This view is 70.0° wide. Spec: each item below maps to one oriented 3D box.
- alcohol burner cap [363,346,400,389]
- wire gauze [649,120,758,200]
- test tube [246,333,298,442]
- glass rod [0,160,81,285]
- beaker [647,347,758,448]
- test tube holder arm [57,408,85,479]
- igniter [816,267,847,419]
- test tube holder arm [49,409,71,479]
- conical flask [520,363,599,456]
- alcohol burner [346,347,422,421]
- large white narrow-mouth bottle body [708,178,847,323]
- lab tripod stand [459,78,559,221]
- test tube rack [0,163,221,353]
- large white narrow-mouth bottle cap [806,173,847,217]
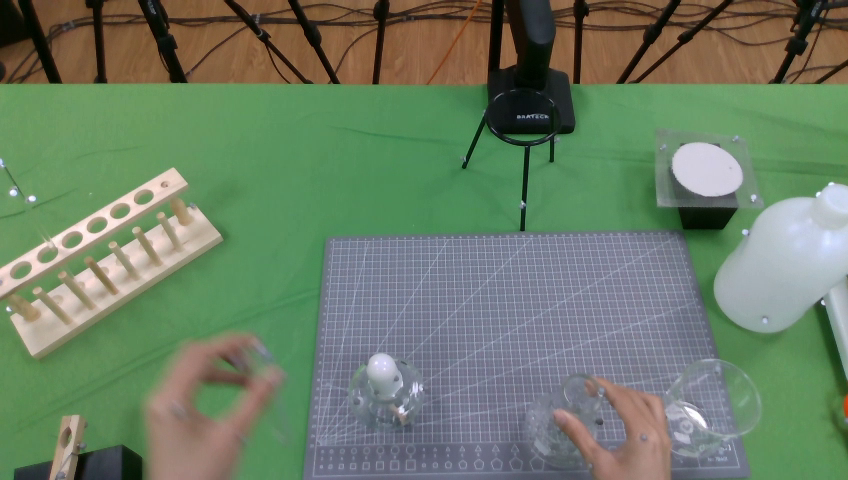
[{"bbox_3d":[-0.042,0.119,0.574,0.034,0.048,0.033,-3,57,5],"label":"alcohol burner cap"},{"bbox_3d":[0.344,-0.100,0.755,0.121,0.011,0.124,5,58,4],"label":"wire gauze"},{"bbox_3d":[-0.115,0.119,0.467,0.017,0.151,0.017,1,48,0],"label":"test tube"},{"bbox_3d":[-0.404,-0.010,0.642,0.008,0.201,0.008,2,50,-2],"label":"glass rod"},{"bbox_3d":[0.265,0.159,0.596,0.084,0.101,0.073,3,58,4],"label":"beaker"},{"bbox_3d":[-0.330,0.243,0.547,0.013,0.015,0.177,-8,62,3],"label":"test tube holder arm"},{"bbox_3d":[0.464,0.148,0.647,0.057,0.025,0.274,9,58,-6],"label":"igniter"},{"bbox_3d":[-0.340,0.204,0.568,0.010,0.015,0.087,-7,62,3],"label":"test tube holder arm"},{"bbox_3d":[0.136,0.158,0.585,0.075,0.123,0.074,0,58,1],"label":"conical flask"},{"bbox_3d":[-0.041,0.137,0.605,0.078,0.120,0.077,1,57,-1],"label":"alcohol burner"},{"bbox_3d":[0.381,0.005,0.637,0.102,0.196,0.101,0,58,1],"label":"large white narrow-mouth bottle body"},{"bbox_3d":[0.114,-0.118,0.753,0.148,0.132,0.147,1,59,-1],"label":"lab tripod stand"},{"bbox_3d":[-0.369,0.018,0.702,0.242,0.086,0.066,-37,65,-20],"label":"test tube rack"},{"bbox_3d":[0.380,-0.043,0.565,0.038,0.024,0.037,0,58,1],"label":"large white narrow-mouth bottle cap"}]
